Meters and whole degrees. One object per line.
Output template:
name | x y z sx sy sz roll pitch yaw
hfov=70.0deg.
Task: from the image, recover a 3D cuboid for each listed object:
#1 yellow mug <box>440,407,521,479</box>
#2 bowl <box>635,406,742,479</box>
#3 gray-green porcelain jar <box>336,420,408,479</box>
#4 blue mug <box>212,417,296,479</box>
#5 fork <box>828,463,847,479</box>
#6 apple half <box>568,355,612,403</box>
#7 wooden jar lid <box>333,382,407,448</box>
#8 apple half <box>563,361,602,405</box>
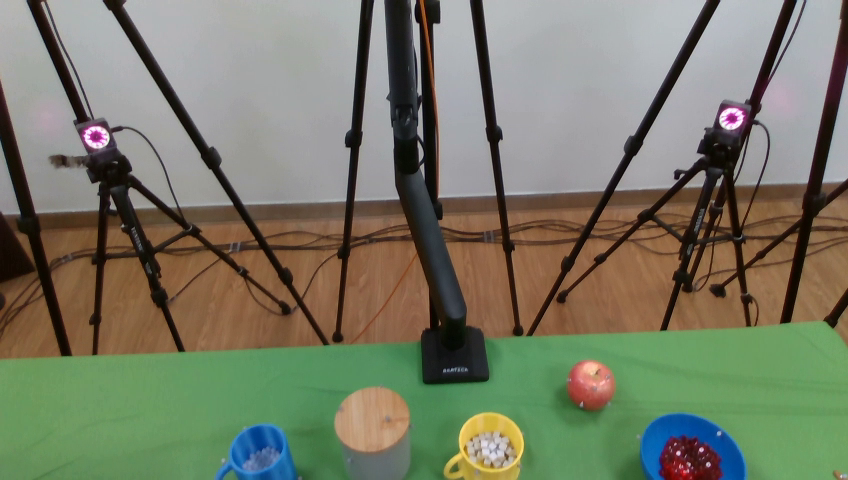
yellow mug | 0.084 0.327 0.943 0.131 0.064 0.099 -19 45 -18
bowl | 0.390 0.338 0.918 0.151 0.077 0.150 -1 43 1
gray-green porcelain jar | -0.077 0.304 0.925 0.106 0.127 0.105 0 42 1
blue mug | -0.256 0.336 0.906 0.117 0.107 0.081 -20 45 -20
fork | 0.613 0.373 0.821 0.208 0.018 0.028 47 48 -10
apple half | 0.289 0.234 1.038 0.053 0.075 0.080 -22 42 -29
wooden jar lid | -0.078 0.257 0.884 0.108 0.021 0.107 -1 40 1
apple half | 0.258 0.249 1.020 0.033 0.082 0.080 -23 46 -29
